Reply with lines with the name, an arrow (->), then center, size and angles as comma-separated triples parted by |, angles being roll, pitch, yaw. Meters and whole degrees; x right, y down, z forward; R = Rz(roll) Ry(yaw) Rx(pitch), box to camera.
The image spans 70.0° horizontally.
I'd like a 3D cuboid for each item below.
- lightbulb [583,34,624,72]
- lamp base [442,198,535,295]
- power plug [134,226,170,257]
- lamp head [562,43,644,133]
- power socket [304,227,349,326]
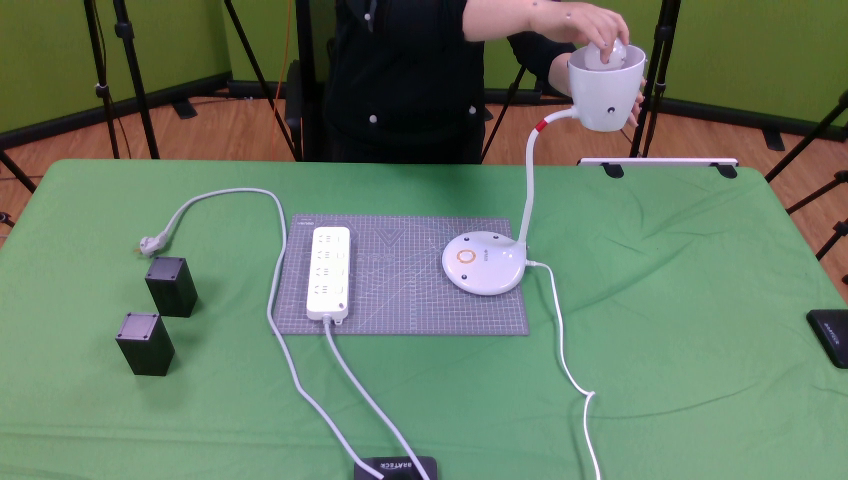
lightbulb -> 0.273, -0.256, 0.918 | 0.059, 0.108, 0.059 | -10, 33, 6
lamp base -> 0.130, -0.012, 1.105 | 0.179, 0.181, 0.159 | -1, 46, -9
power plug -> -0.515, 0.006, 1.153 | 0.052, 0.035, 0.072 | -6, 24, 7
lamp head -> 0.272, -0.227, 0.932 | 0.112, 0.123, 0.112 | -2, 37, 2
power socket -> -0.177, 0.059, 1.115 | 0.072, 0.033, 0.225 | -1, 46, -4
